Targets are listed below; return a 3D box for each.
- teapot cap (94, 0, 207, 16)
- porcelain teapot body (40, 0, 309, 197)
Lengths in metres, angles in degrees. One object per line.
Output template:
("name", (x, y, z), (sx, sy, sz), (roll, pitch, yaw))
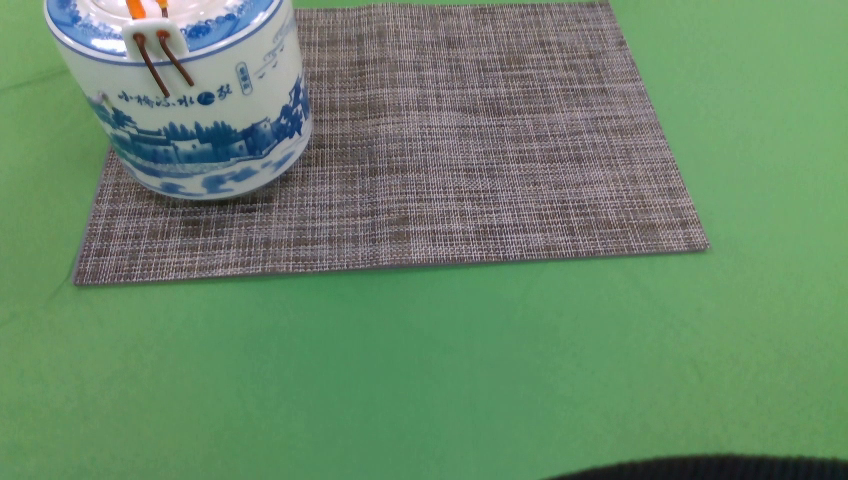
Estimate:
("teapot cap", (-0.159, -0.163, 0.357), (0.085, 0.044, 0.084), (0, 55, 0))
("porcelain teapot body", (-0.164, -0.164, 0.406), (0.145, 0.227, 0.203), (-9, 56, -8))
